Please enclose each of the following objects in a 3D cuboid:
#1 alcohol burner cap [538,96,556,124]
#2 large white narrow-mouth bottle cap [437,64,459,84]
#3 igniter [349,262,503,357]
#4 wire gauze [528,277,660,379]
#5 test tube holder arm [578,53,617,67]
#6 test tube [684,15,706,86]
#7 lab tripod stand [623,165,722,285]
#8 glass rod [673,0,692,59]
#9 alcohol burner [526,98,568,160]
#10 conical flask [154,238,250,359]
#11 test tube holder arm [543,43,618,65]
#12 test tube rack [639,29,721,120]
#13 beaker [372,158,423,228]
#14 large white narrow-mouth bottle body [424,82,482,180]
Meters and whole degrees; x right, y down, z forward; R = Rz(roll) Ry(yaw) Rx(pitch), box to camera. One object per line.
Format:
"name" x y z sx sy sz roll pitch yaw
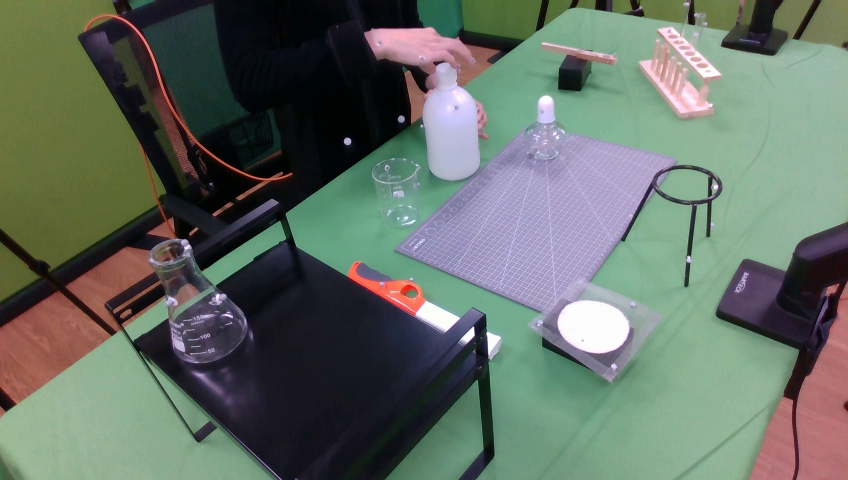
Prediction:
"alcohol burner cap" 0.222 -0.237 1.095 0.034 0.048 0.033 -7 34 5
"large white narrow-mouth bottle cap" 0.041 -0.282 1.027 0.038 0.024 0.037 -4 41 4
"igniter" -0.008 0.093 0.870 0.274 0.025 0.057 24 60 33
"wire gauze" 0.213 0.103 0.763 0.124 0.011 0.122 30 52 35
"test tube holder arm" 0.375 -0.393 1.314 0.087 0.015 0.010 26 51 32
"test tube" 0.541 -0.378 1.215 0.017 0.151 0.017 -2 44 3
"lab tripod stand" 0.365 -0.030 0.874 0.148 0.132 0.147 -6 41 6
"glass rod" 0.537 -0.437 1.257 0.008 0.200 0.008 0 39 1
"alcohol burner" 0.228 -0.210 1.118 0.078 0.119 0.077 -5 43 5
"conical flask" -0.225 0.055 0.597 0.075 0.122 0.075 -5 41 4
"test tube holder arm" 0.344 -0.413 1.340 0.177 0.015 0.013 25 51 31
"test tube rack" 0.527 -0.351 1.262 0.067 0.085 0.241 -8 40 1
"beaker" -0.039 -0.079 1.022 0.084 0.101 0.073 -17 41 -11
"large white narrow-mouth bottle body" 0.051 -0.212 1.091 0.102 0.195 0.101 -4 41 4
